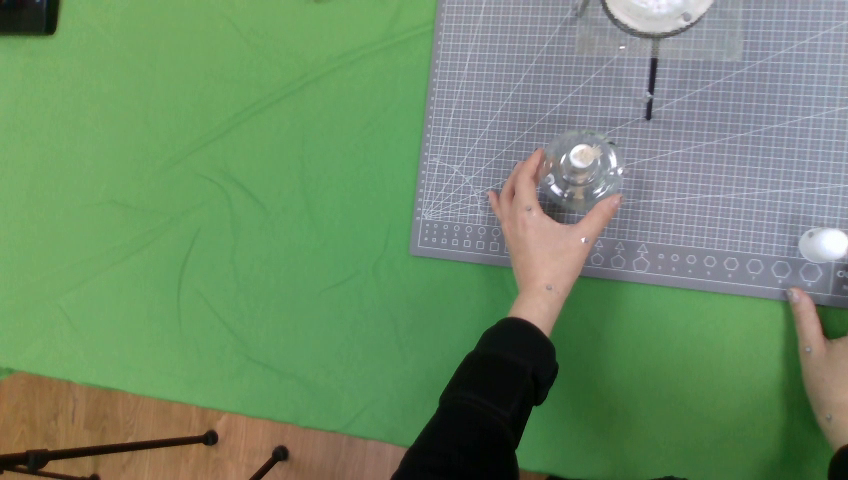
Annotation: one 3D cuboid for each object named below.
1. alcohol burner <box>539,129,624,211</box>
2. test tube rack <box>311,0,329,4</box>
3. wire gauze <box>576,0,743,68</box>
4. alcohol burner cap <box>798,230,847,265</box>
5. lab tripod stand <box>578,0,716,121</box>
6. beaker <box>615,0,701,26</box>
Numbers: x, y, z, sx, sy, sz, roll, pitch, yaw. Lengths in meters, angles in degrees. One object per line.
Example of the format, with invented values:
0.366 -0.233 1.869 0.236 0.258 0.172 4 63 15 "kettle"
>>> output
0.144 -0.067 0.554 0.078 0.119 0.078 -1 86 13 "alcohol burner"
-0.027 -0.327 0.629 0.242 0.085 0.066 -11 84 14 "test tube rack"
0.185 -0.198 0.471 0.125 0.011 0.121 6 92 12 "wire gauze"
0.354 0.005 0.532 0.034 0.048 0.034 -1 86 15 "alcohol burner cap"
0.202 -0.193 0.534 0.148 0.132 0.148 0 88 13 "lab tripod stand"
0.168 -0.202 0.426 0.083 0.100 0.074 20 93 15 "beaker"
